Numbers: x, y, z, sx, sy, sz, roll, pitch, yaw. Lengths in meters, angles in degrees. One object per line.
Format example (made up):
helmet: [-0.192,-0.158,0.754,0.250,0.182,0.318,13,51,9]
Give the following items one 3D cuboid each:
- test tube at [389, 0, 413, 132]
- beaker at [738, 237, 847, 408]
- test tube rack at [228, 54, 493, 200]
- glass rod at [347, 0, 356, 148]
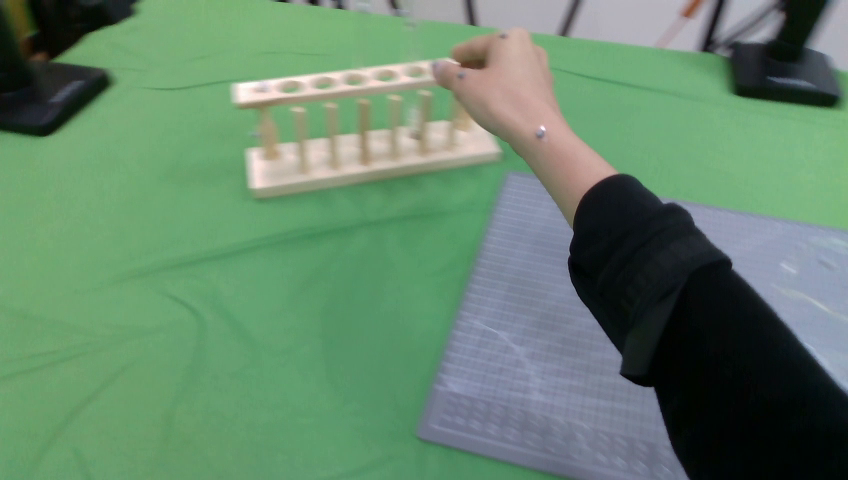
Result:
test tube: [-0.021,-0.165,0.569,0.017,0.151,0.017,-1,47,2]
beaker: [0.261,0.060,0.407,0.084,0.101,0.073,-3,45,-2]
test tube rack: [-0.055,-0.111,0.585,0.243,0.086,0.066,-11,46,-12]
glass rod: [-0.065,-0.160,0.539,0.008,0.201,0.008,3,48,-3]
